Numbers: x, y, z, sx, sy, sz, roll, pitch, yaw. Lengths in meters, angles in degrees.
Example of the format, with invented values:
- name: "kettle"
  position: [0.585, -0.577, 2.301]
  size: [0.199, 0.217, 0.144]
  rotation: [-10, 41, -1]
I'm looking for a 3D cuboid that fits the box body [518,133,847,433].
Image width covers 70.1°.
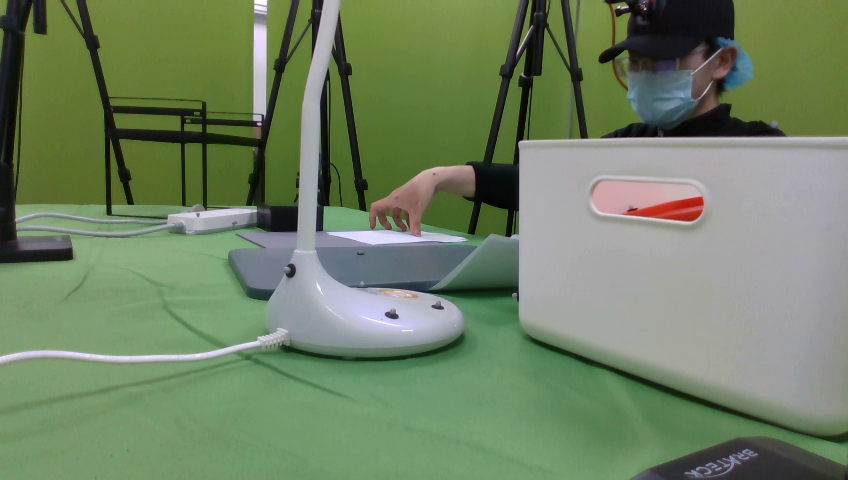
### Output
- name: "box body"
  position: [0.278, 0.005, 0.486]
  size: [0.366, 0.160, 0.253]
  rotation: [-3, 9, -36]

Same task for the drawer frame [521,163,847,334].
- name: "drawer frame"
  position: [0.224, 0.002, 0.465]
  size: [0.215, 0.082, 0.200]
  rotation: [-14, 2, -36]

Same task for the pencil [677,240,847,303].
- name: "pencil"
  position: [0.248, 0.018, 0.464]
  size: [0.012, 0.012, 0.193]
  rotation: [1, 10, -9]

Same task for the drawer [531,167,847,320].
- name: "drawer"
  position: [0.225, 0.003, 0.468]
  size: [0.213, 0.073, 0.193]
  rotation: [-14, 2, -36]

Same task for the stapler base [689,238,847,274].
- name: "stapler base"
  position: [0.270, 0.013, 0.488]
  size: [0.041, 0.024, 0.130]
  rotation: [-15, 3, -19]

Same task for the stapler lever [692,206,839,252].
- name: "stapler lever"
  position: [0.266, -0.011, 0.486]
  size: [0.027, 0.040, 0.117]
  rotation: [-15, 2, -19]

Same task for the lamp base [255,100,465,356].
- name: "lamp base"
  position: [-0.051, -0.014, 0.466]
  size: [0.160, 0.180, 0.180]
  rotation: [7, 11, 34]

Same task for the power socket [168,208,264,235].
- name: "power socket"
  position: [-0.381, -0.038, 1.129]
  size: [0.072, 0.032, 0.227]
  rotation: [4, 8, 17]

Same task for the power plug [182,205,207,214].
- name: "power plug"
  position: [-0.456, -0.041, 1.195]
  size: [0.052, 0.035, 0.072]
  rotation: [0, 40, 24]

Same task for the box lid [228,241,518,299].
- name: "box lid"
  position: [-0.043, 0.031, 0.760]
  size: [0.373, 0.015, 0.262]
  rotation: [-2, 8, -23]

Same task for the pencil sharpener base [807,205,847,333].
- name: "pencil sharpener base"
  position: [0.385, 0.026, 0.519]
  size: [0.062, 0.107, 0.076]
  rotation: [-5, 11, -43]
